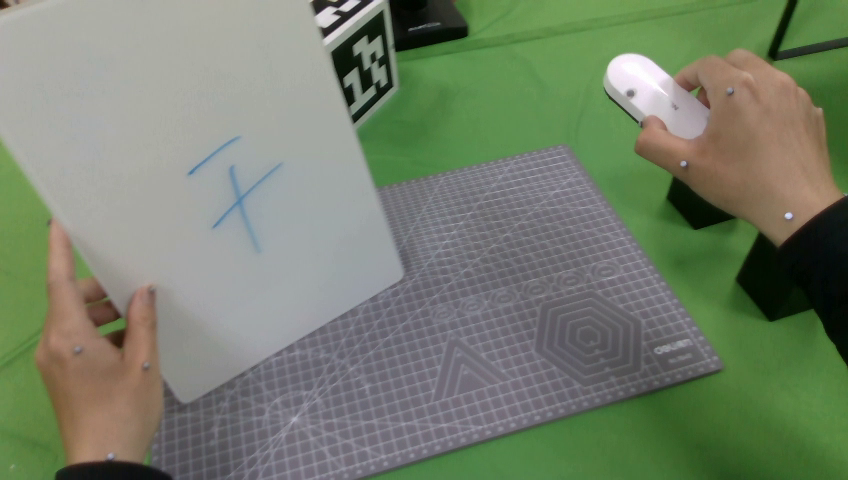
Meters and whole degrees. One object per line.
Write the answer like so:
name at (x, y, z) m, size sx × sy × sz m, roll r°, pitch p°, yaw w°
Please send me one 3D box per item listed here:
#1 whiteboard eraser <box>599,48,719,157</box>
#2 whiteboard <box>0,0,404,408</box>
whiteboard eraser at (0.170, -0.102, 0.443) m, size 0.041 × 0.019 × 0.100 m, roll -35°, pitch 72°, yaw -17°
whiteboard at (-0.179, -0.064, 0.494) m, size 0.217 × 0.308 × 0.142 m, roll -30°, pitch 34°, yaw -20°
